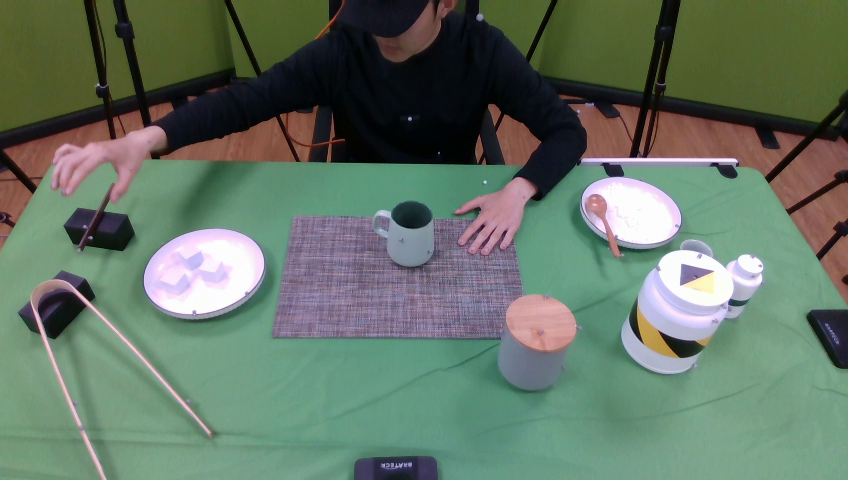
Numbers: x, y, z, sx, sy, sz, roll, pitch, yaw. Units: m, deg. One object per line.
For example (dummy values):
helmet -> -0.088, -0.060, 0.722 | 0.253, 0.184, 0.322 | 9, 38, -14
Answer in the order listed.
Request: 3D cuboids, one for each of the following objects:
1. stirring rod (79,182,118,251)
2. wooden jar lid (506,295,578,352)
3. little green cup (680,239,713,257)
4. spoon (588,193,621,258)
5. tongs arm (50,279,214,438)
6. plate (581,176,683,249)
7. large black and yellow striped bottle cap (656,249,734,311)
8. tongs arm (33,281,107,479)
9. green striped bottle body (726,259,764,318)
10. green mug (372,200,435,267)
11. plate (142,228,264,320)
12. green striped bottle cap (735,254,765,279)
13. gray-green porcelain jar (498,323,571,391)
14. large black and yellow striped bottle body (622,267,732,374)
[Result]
stirring rod -> -0.605, -0.046, 1.131 | 0.006, 0.014, 0.175 | 0, 46, 1
wooden jar lid -> 0.179, 0.129, 0.926 | 0.108, 0.021, 0.107 | 2, 43, -2
little green cup -> 0.530, 0.033, 1.189 | 0.061, 0.039, 0.061 | 2, 48, -2
spoon -> 0.367, -0.032, 1.220 | 0.041, 0.022, 0.192 | 1, 38, -1
tongs arm -> -0.459, 0.178, 0.949 | 0.386, 0.028, 0.028 | 37, 60, 17
plate -> 0.430, -0.054, 1.267 | 0.209, 0.038, 0.208 | 2, 46, -2
large black and yellow striped bottle cap -> 0.419, 0.061, 0.938 | 0.115, 0.019, 0.114 | 2, 47, -2
tongs arm -> -0.517, 0.214, 0.910 | 0.051, 0.026, 0.383 | -28, 63, -27
green striped bottle body -> 0.563, 0.081, 1.089 | 0.063, 0.120, 0.063 | 2, 46, -2
green mug -> -0.040, -0.016, 1.146 | 0.125, 0.105, 0.092 | 17, 48, 13
plate -> -0.394, 0.064, 1.095 | 0.208, 0.039, 0.206 | 2, 46, -2
green striped bottle cap -> 0.566, 0.046, 1.051 | 0.044, 0.020, 0.044 | 0, 45, 0
gray-green porcelain jar -> 0.176, 0.172, 0.971 | 0.106, 0.127, 0.105 | 2, 46, -2
large black and yellow striped bottle body -> 0.415, 0.119, 0.997 | 0.131, 0.185, 0.130 | 2, 46, -2
